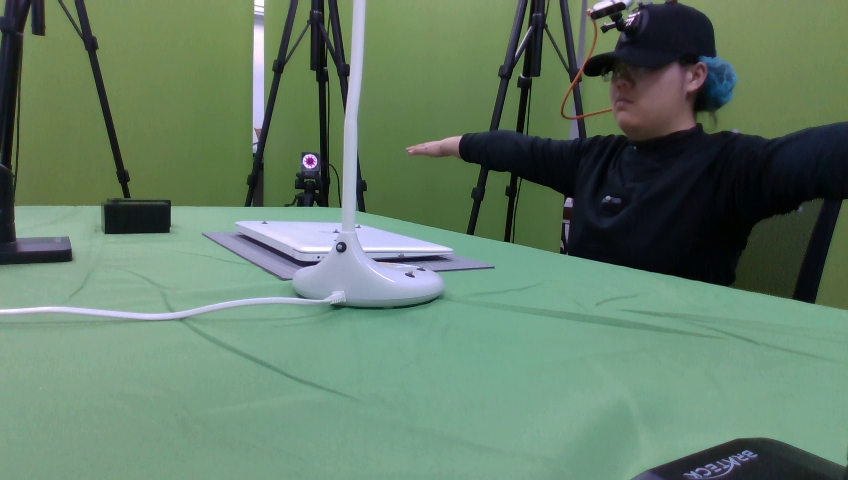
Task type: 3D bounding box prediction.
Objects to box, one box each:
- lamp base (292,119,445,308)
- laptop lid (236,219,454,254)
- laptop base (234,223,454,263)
[{"bbox_3d":[-0.056,-0.030,0.616,0.160,0.180,0.179,3,10,8],"label":"lamp base"},{"bbox_3d":[-0.140,-0.008,0.957,0.243,0.013,0.355,1,7,-30],"label":"laptop lid"},{"bbox_3d":[-0.143,0.004,0.957,0.237,0.023,0.352,2,7,-32],"label":"laptop base"}]
